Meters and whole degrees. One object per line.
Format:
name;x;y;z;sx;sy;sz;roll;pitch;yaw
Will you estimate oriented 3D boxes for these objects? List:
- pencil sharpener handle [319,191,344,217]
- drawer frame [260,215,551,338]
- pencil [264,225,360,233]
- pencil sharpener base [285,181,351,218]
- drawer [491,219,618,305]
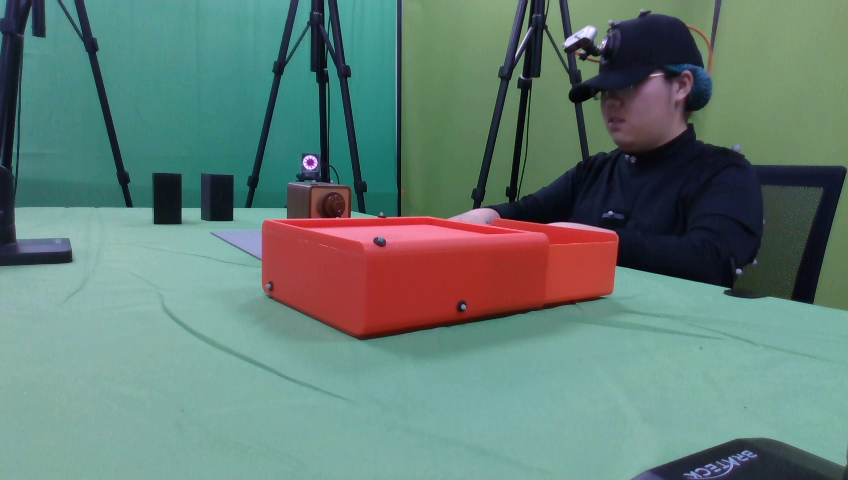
pencil sharpener handle;-0.107;-0.026;0.748;0.036;0.067;0.030;-6;11;-36
drawer frame;-0.021;0.023;0.595;0.215;0.082;0.200;-4;10;-38
pencil;-0.212;-0.021;1.157;0.195;0.012;0.012;-3;9;-32
pencil sharpener base;-0.139;-0.021;0.789;0.062;0.107;0.076;-2;9;-36
drawer;0.071;0.021;0.670;0.213;0.073;0.193;-3;10;-39
